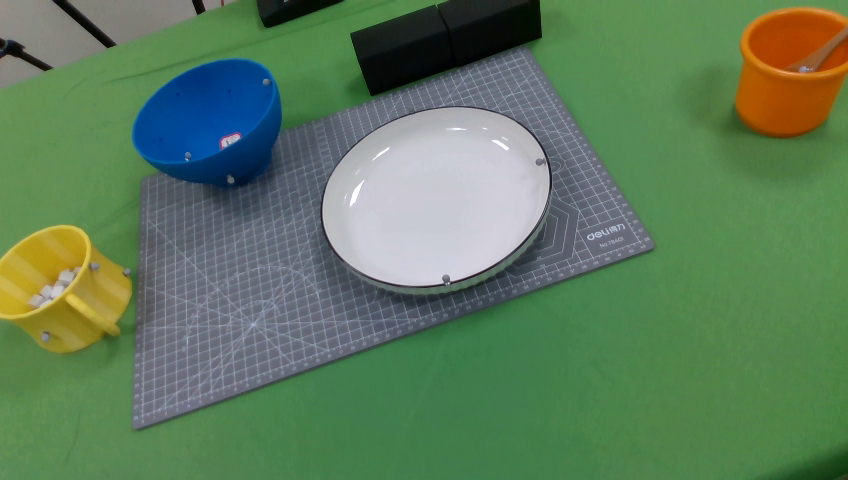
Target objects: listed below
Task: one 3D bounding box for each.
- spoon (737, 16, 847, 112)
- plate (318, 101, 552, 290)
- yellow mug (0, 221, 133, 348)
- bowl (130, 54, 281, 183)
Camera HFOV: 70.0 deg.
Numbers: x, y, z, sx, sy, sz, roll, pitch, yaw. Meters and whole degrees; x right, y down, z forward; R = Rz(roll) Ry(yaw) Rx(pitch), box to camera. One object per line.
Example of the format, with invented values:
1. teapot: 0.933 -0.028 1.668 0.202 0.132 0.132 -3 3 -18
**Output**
1. spoon: 0.342 -0.172 0.485 0.022 0.194 0.041 12 50 -32
2. plate: 0.010 -0.040 0.542 0.209 0.038 0.207 -6 54 9
3. yellow mug: -0.321 0.046 0.550 0.130 0.064 0.099 25 64 27
4. bowl: -0.209 -0.112 0.624 0.151 0.077 0.150 -7 54 10
